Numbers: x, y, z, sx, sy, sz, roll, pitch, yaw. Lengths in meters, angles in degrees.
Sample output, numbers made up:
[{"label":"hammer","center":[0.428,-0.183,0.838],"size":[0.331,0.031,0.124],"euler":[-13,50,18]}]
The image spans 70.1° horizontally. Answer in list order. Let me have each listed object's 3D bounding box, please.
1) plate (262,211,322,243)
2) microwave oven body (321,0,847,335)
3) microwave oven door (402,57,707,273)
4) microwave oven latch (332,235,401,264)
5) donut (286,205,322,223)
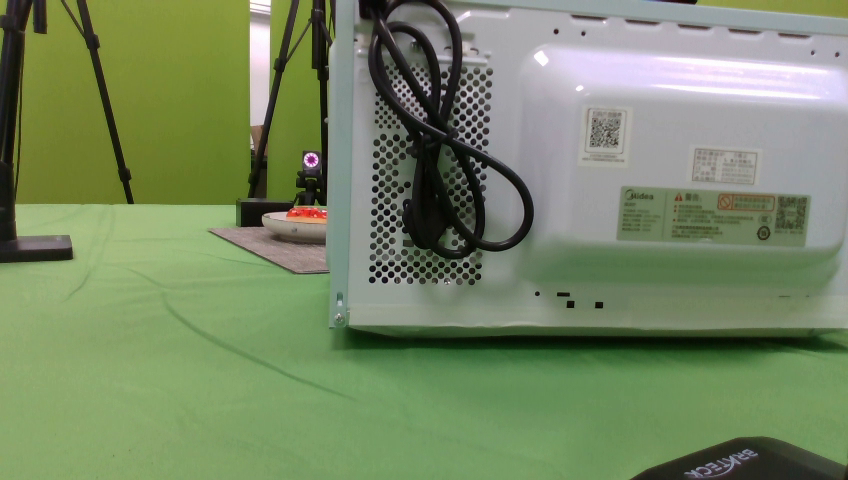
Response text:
[{"label":"plate","center":[-0.170,-0.023,1.036],"size":[0.209,0.038,0.209],"euler":[2,7,0]},{"label":"microwave oven body","center":[0.133,-0.062,0.568],"size":[0.443,0.260,0.325],"euler":[2,6,-8]},{"label":"microwave oven door","center":[0.156,-0.086,0.726],"size":[0.356,0.243,0.039],"euler":[2,8,-5]},{"label":"microwave oven latch","center":[-0.066,0.011,0.700],"size":[0.079,0.029,0.030],"euler":[2,6,-8]},{"label":"donut","center":[-0.186,-0.034,1.031],"size":[0.099,0.048,0.099],"euler":[3,5,0]}]
